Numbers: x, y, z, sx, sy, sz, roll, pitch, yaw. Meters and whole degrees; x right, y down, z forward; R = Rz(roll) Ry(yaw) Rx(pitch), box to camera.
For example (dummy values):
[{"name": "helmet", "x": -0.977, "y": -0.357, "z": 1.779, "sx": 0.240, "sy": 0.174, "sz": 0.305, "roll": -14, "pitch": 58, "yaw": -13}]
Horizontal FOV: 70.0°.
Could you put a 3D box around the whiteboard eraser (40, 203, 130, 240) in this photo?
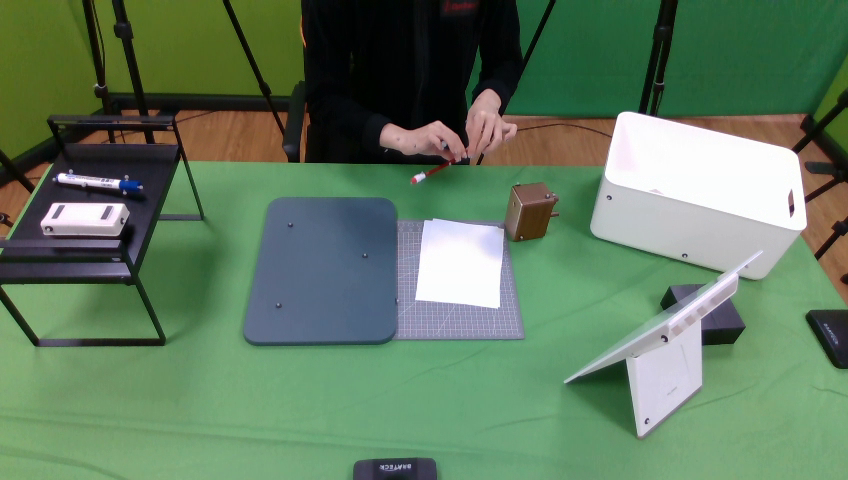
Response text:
[{"name": "whiteboard eraser", "x": -0.513, "y": -0.028, "z": 0.922, "sx": 0.113, "sy": 0.042, "sz": 0.055, "roll": 1, "pitch": 48, "yaw": -3}]

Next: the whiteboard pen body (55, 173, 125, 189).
[{"name": "whiteboard pen body", "x": -0.539, "y": -0.095, "z": 0.998, "sx": 0.141, "sy": 0.017, "sz": 0.017, "roll": 6, "pitch": 46, "yaw": 6}]

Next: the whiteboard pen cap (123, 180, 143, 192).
[{"name": "whiteboard pen cap", "x": -0.479, "y": -0.089, "z": 0.993, "sx": 0.033, "sy": 0.018, "sz": 0.018, "roll": 7, "pitch": 46, "yaw": 14}]

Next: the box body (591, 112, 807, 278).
[{"name": "box body", "x": 0.540, "y": -0.092, "z": 1.230, "sx": 0.363, "sy": 0.161, "sz": 0.253, "roll": 16, "pitch": 47, "yaw": 11}]

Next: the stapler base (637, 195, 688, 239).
[{"name": "stapler base", "x": 0.507, "y": -0.055, "z": 1.280, "sx": 0.041, "sy": 0.024, "sz": 0.129, "roll": -14, "pitch": 47, "yaw": -19}]

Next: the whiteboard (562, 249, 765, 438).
[{"name": "whiteboard", "x": 0.386, "y": 0.175, "z": 0.905, "sx": 0.217, "sy": 0.306, "sz": 0.143, "roll": -26, "pitch": 72, "yaw": -26}]

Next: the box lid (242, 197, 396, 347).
[{"name": "box lid", "x": -0.186, "y": 0.046, "z": 1.147, "sx": 0.263, "sy": 0.015, "sz": 0.369, "roll": 0, "pitch": 46, "yaw": -3}]

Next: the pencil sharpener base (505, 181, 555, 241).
[{"name": "pencil sharpener base", "x": 0.212, "y": -0.058, "z": 1.210, "sx": 0.077, "sy": 0.107, "sz": 0.061, "roll": -9, "pitch": 47, "yaw": -12}]

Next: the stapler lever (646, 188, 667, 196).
[{"name": "stapler lever", "x": 0.507, "y": -0.075, "z": 1.262, "sx": 0.027, "sy": 0.040, "sz": 0.117, "roll": -14, "pitch": 46, "yaw": -19}]

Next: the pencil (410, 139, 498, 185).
[{"name": "pencil", "x": 0.058, "y": -0.148, "z": 1.134, "sx": 0.194, "sy": 0.012, "sz": 0.012, "roll": -28, "pitch": 54, "yaw": -15}]

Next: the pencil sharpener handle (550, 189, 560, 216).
[{"name": "pencil sharpener handle", "x": 0.262, "y": -0.074, "z": 1.212, "sx": 0.031, "sy": 0.068, "sz": 0.035, "roll": -9, "pitch": 47, "yaw": -12}]
